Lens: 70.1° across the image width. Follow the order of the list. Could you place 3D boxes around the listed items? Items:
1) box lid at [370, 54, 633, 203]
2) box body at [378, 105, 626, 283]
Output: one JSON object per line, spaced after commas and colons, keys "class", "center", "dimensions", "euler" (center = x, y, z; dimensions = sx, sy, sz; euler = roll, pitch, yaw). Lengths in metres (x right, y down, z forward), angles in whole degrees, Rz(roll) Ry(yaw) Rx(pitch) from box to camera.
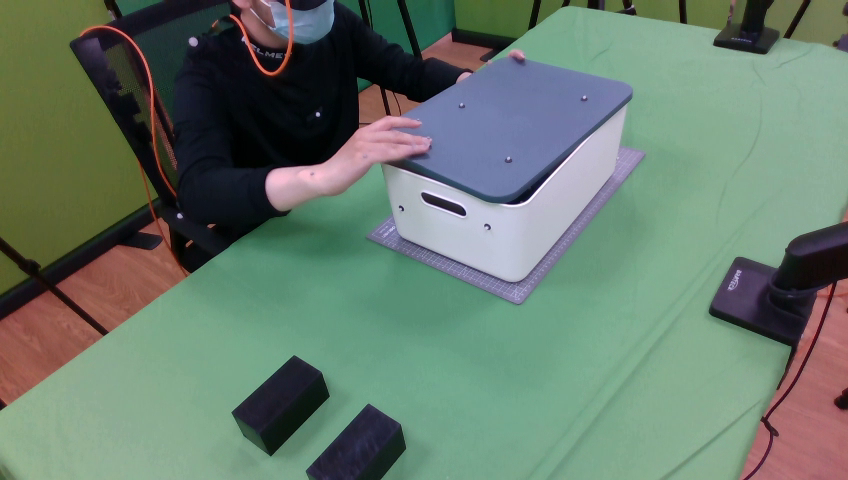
{"class": "box lid", "center": [0.126, -0.190, 0.928], "dimensions": [0.261, 0.015, 0.373], "euler": [27, 51, 32]}
{"class": "box body", "center": [0.137, -0.121, 0.978], "dimensions": [0.252, 0.161, 0.365], "euler": [22, 49, 30]}
